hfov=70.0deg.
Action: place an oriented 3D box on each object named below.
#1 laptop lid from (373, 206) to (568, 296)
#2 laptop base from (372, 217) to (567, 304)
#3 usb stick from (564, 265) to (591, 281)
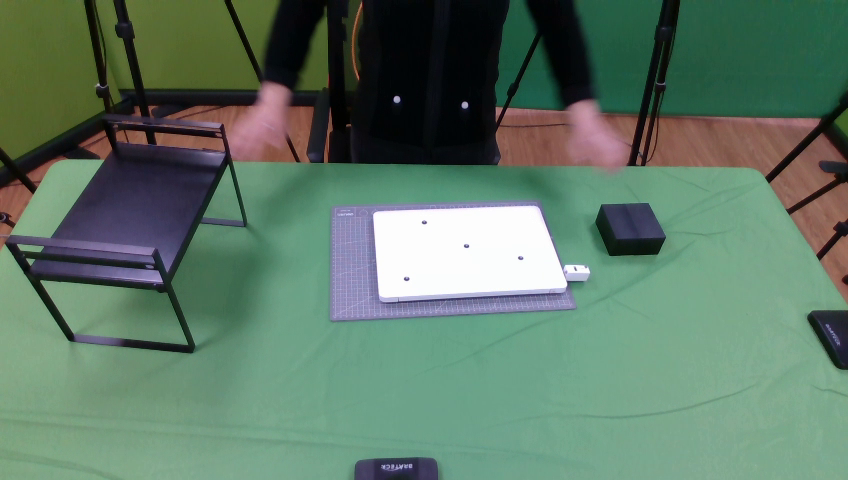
[{"bbox_3d":[0.081,0.014,1.174,0.357,0.013,0.240,-1,44,-5],"label":"laptop lid"},{"bbox_3d":[0.081,0.024,1.181,0.355,0.023,0.234,-3,43,-6],"label":"laptop base"},{"bbox_3d":[0.282,0.062,1.143,0.059,0.027,0.021,-1,45,-6],"label":"usb stick"}]
